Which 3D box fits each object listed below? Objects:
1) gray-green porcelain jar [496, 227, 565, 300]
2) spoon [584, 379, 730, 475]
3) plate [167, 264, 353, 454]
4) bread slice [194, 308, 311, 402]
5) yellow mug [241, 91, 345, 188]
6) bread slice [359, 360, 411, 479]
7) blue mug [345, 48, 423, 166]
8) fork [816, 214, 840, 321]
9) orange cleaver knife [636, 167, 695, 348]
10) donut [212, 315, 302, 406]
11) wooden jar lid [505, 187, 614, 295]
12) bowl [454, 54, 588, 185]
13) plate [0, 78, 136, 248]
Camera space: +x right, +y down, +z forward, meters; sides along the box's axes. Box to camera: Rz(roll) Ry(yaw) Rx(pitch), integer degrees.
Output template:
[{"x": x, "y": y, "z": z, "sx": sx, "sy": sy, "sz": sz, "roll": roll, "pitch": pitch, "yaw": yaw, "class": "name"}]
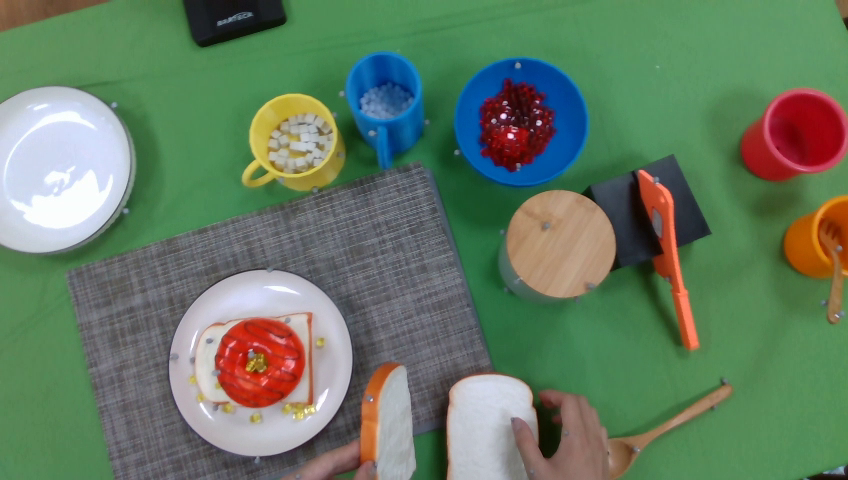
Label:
[{"x": 0.135, "y": 0.012, "z": 0.665, "sx": 0.106, "sy": 0.127, "sz": 0.105, "roll": 0, "pitch": 81, "yaw": 0, "class": "gray-green porcelain jar"}, {"x": 0.267, "y": 0.208, "z": 0.686, "sx": 0.194, "sy": 0.022, "sz": 0.041, "roll": -28, "pitch": 65, "yaw": -4, "class": "spoon"}, {"x": -0.182, "y": 0.132, "z": 0.690, "sx": 0.209, "sy": 0.038, "sz": 0.208, "roll": 0, "pitch": 81, "yaw": 1, "class": "plate"}, {"x": -0.196, "y": 0.135, "z": 0.694, "sx": 0.132, "sy": 0.019, "sz": 0.104, "roll": -4, "pitch": 81, "yaw": -3, "class": "bread slice"}, {"x": -0.161, "y": -0.108, "z": 0.716, "sx": 0.131, "sy": 0.064, "sz": 0.099, "roll": -38, "pitch": 82, "yaw": -4, "class": "yellow mug"}, {"x": -0.037, "y": 0.189, "z": 0.607, "sx": 0.018, "sy": 0.107, "sz": 0.134, "roll": 0, "pitch": 95, "yaw": 16, "class": "bread slice"}, {"x": -0.044, "y": -0.144, "z": 0.701, "sx": 0.082, "sy": 0.106, "sz": 0.116, "roll": 4, "pitch": 81, "yaw": 2, "class": "blue mug"}, {"x": 0.434, "y": 0.025, "z": 0.648, "sx": 0.028, "sy": 0.018, "sz": 0.207, "roll": 46, "pitch": 41, "yaw": 0, "class": "fork"}, {"x": 0.272, "y": 0.021, "z": 0.684, "sx": 0.012, "sy": 0.076, "sz": 0.212, "roll": -19, "pitch": 108, "yaw": -2, "class": "orange cleaver knife"}, {"x": -0.181, "y": 0.131, "z": 0.662, "sx": 0.099, "sy": 0.048, "sz": 0.098, "roll": 0, "pitch": 82, "yaw": -3, "class": "donut"}, {"x": 0.133, "y": 0.001, "z": 0.603, "sx": 0.108, "sy": 0.021, "sz": 0.108, "roll": 0, "pitch": 83, "yaw": -2, "class": "wooden jar lid"}, {"x": 0.109, "y": -0.130, "z": 0.711, "sx": 0.151, "sy": 0.077, "sz": 0.151, "roll": 0, "pitch": 82, "yaw": 1, "class": "bowl"}, {"x": -0.447, "y": -0.091, "z": 0.730, "sx": 0.208, "sy": 0.039, "sz": 0.207, "roll": 0, "pitch": 82, "yaw": 1, "class": "plate"}]
